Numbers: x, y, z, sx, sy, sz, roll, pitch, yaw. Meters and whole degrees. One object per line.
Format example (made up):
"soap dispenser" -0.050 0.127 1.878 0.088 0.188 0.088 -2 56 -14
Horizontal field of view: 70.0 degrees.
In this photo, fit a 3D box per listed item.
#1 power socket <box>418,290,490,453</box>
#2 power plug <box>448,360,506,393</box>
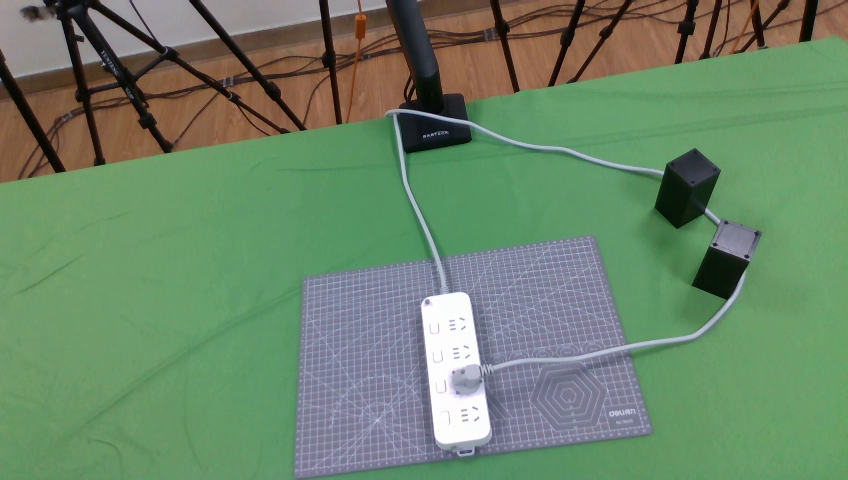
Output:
"power socket" 0.037 0.165 0.804 0.072 0.033 0.224 -9 55 2
"power plug" 0.067 0.177 0.769 0.072 0.053 0.035 1 58 7
